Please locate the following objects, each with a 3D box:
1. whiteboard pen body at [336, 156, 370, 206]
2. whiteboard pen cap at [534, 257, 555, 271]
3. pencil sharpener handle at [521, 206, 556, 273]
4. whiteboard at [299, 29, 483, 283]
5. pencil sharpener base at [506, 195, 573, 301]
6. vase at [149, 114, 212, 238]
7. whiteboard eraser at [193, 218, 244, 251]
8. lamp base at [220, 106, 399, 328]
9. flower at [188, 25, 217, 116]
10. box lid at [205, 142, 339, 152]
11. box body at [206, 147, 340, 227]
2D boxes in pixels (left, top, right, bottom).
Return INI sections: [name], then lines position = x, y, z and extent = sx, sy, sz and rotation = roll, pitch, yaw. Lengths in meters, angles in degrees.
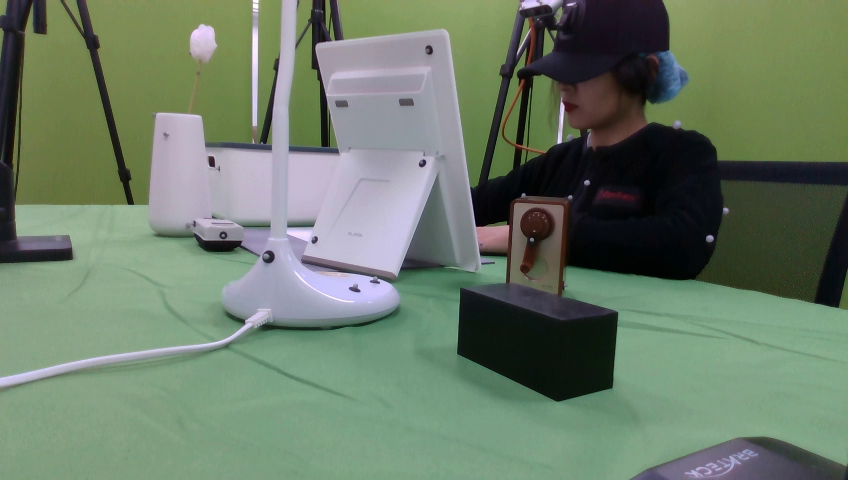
[whiteboard pen body]
position = -0.131, -0.108, 1.109
extent = 0.017, 0.017, 0.141
rotation = 6, 45, 22
[whiteboard pen cap]
position = 0.166, 0.033, 0.839
extent = 0.018, 0.018, 0.033
rotation = -1, 6, -23
[pencil sharpener handle]
position = 0.111, 0.000, 0.613
extent = 0.036, 0.067, 0.031
rotation = 13, 10, 14
[whiteboard]
position = -0.074, -0.082, 0.742
extent = 0.216, 0.305, 0.144
rotation = 9, 29, 38
[pencil sharpener base]
position = 0.127, 0.007, 0.663
extent = 0.061, 0.107, 0.077
rotation = 5, 8, 15
[vase]
position = -0.405, -0.106, 1.005
extent = 0.098, 0.200, 0.098
rotation = 2, 6, 0
[whiteboard eraser]
position = -0.307, -0.010, 0.900
extent = 0.056, 0.042, 0.112
rotation = -4, 11, -28
[lamp base]
position = -0.102, -0.023, 0.531
extent = 0.160, 0.180, 0.179
rotation = 4, 10, 10
[flower]
position = -0.394, -0.189, 1.011
extent = 0.044, 0.361, 0.038
rotation = -1, -13, 28
[box lid]
position = -0.270, -0.196, 1.310
extent = 0.373, 0.015, 0.262
rotation = -2, 9, -30
[box body]
position = -0.276, -0.122, 1.320
extent = 0.366, 0.160, 0.253
rotation = -2, 9, -30
